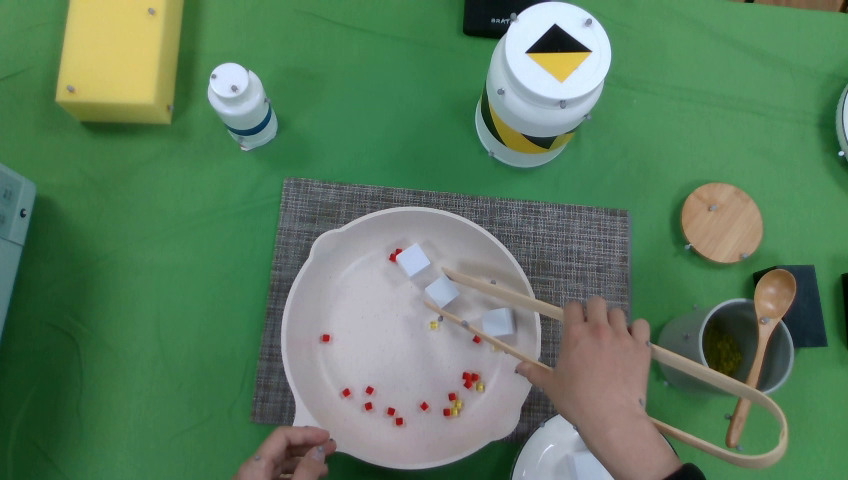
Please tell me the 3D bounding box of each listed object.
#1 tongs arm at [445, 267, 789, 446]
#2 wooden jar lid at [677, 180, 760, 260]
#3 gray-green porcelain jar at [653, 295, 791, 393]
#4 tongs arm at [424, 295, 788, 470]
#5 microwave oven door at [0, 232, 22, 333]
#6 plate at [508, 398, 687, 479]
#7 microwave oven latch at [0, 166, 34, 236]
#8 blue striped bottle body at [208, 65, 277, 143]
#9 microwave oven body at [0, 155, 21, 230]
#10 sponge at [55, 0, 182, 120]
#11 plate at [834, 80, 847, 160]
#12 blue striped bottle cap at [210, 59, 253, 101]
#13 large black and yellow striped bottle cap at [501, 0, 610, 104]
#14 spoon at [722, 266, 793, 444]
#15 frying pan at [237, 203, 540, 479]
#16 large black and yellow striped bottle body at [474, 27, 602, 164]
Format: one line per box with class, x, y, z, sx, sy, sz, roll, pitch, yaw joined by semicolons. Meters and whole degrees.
tongs arm;0.161;0.096;0.605;0.384;0.028;0.028;23;63;41
wooden jar lid;0.382;-0.025;0.792;0.108;0.021;0.108;1;79;-3
gray-green porcelain jar;0.335;0.124;0.701;0.106;0.127;0.105;1;77;-3
tongs arm;0.144;0.117;0.597;0.381;0.027;0.050;26;68;42
microwave oven door;-0.501;0.143;0.565;0.039;0.244;0.354;5;77;-2
plate;0.198;0.288;0.700;0.208;0.039;0.206;1;79;-3
microwave oven latch;-0.485;-0.047;0.711;0.030;0.029;0.079;9;78;-2
blue striped bottle body;-0.220;-0.168;0.732;0.063;0.121;0.063;1;77;-3
microwave oven body;-0.643;0.088;0.573;0.326;0.261;0.439;6;78;-3
sponge;-0.384;-0.262;0.773;0.118;0.061;0.206;1;78;-4
plate;0.658;-0.151;0.828;0.209;0.038;0.208;1;77;-3
blue striped bottle cap;-0.218;-0.181;0.683;0.044;0.021;0.044;1;79;-3
large black and yellow striped bottle cap;0.140;-0.202;0.646;0.115;0.019;0.114;1;79;-3
spoon;0.343;0.119;0.631;0.041;0.021;0.193;21;81;-2
frying pan;-0.088;0.170;0.671;0.487;0.103;0.306;-42;82;-19
large black and yellow striped bottle body;0.135;-0.182;0.727;0.131;0.184;0.130;1;77;-3
